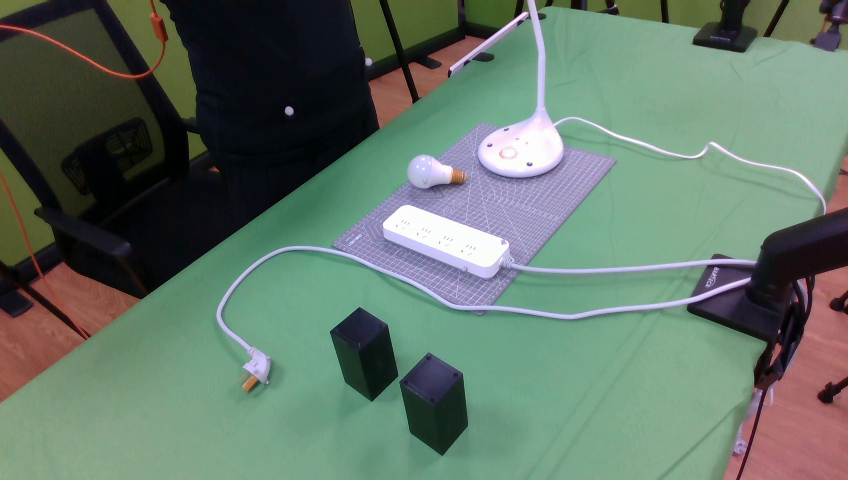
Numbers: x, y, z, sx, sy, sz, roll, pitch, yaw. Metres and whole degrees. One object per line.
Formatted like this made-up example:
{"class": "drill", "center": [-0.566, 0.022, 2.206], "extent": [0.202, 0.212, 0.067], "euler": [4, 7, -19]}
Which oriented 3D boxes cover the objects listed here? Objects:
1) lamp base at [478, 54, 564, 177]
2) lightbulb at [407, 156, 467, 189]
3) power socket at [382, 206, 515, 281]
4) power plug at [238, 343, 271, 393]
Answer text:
{"class": "lamp base", "center": [0.180, -0.232, 1.090], "extent": [0.159, 0.181, 0.180], "euler": [21, 45, 30]}
{"class": "lightbulb", "center": [0.023, -0.117, 1.081], "extent": [0.108, 0.059, 0.059], "euler": [8, 40, -7]}
{"class": "power socket", "center": [0.032, 0.002, 0.950], "extent": [0.225, 0.033, 0.072], "euler": [21, 49, 29]}
{"class": "power plug", "center": [-0.229, 0.172, 0.801], "extent": [0.072, 0.035, 0.053], "euler": [7, 50, 51]}
